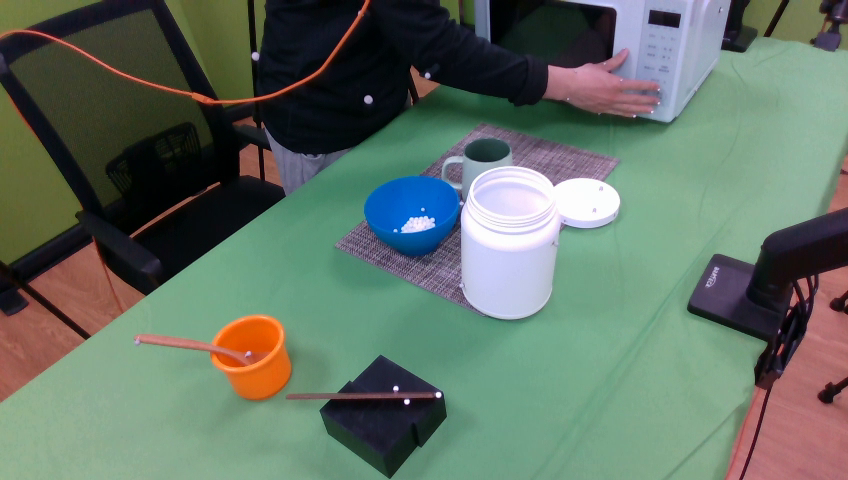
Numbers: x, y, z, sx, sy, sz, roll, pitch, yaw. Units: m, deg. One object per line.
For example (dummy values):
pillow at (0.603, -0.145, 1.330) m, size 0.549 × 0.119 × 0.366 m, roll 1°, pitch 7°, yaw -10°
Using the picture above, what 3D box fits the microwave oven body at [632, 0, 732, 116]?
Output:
microwave oven body at (0.377, -0.463, 1.267) m, size 0.438 × 0.261 × 0.327 m, roll 21°, pitch 49°, yaw 30°

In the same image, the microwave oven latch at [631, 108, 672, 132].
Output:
microwave oven latch at (0.428, -0.231, 1.139) m, size 0.079 × 0.029 × 0.030 m, roll -20°, pitch 41°, yaw -15°

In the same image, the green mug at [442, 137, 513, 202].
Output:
green mug at (0.091, -0.107, 1.012) m, size 0.125 × 0.105 × 0.092 m, roll 2°, pitch 42°, yaw 11°

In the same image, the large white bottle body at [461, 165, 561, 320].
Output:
large white bottle body at (0.115, 0.004, 0.816) m, size 0.130 × 0.185 × 0.130 m, roll -2°, pitch 43°, yaw 2°

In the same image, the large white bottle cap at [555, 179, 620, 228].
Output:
large white bottle cap at (0.265, -0.062, 1.001) m, size 0.115 × 0.018 × 0.114 m, roll -3°, pitch 41°, yaw 3°

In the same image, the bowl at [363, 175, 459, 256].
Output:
bowl at (-0.016, -0.028, 0.955) m, size 0.151 × 0.077 × 0.150 m, roll -4°, pitch 40°, yaw 4°

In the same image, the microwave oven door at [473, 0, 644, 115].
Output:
microwave oven door at (0.257, -0.396, 1.199) m, size 0.353 × 0.245 × 0.039 m, roll 21°, pitch 48°, yaw 29°

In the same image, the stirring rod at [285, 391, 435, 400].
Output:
stirring rod at (-0.075, 0.180, 0.698) m, size 0.176 × 0.006 × 0.014 m, roll -2°, pitch 6°, yaw 6°

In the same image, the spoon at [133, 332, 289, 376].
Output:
spoon at (-0.257, 0.137, 0.747) m, size 0.021 × 0.195 × 0.041 m, roll -48°, pitch 39°, yaw 22°
